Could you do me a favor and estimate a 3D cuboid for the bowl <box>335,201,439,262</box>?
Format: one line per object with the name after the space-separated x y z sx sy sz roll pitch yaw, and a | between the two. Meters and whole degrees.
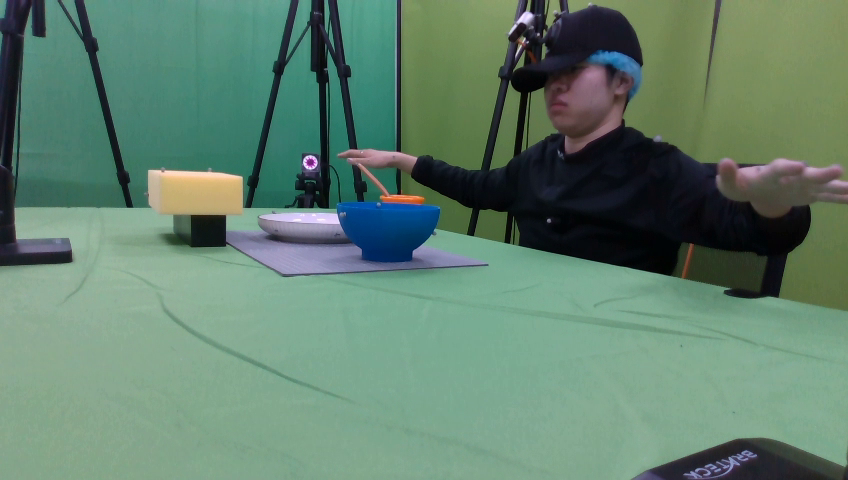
-0.054 -0.012 0.871 0.151 0.077 0.151 2 8 0 | bowl

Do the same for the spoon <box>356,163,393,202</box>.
-0.079 -0.090 1.232 0.021 0.193 0.042 -44 -16 26 | spoon

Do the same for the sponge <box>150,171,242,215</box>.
-0.379 -0.079 0.994 0.119 0.061 0.206 -1 8 -29 | sponge

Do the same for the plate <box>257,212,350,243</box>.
-0.189 -0.023 1.072 0.209 0.038 0.209 3 7 0 | plate
